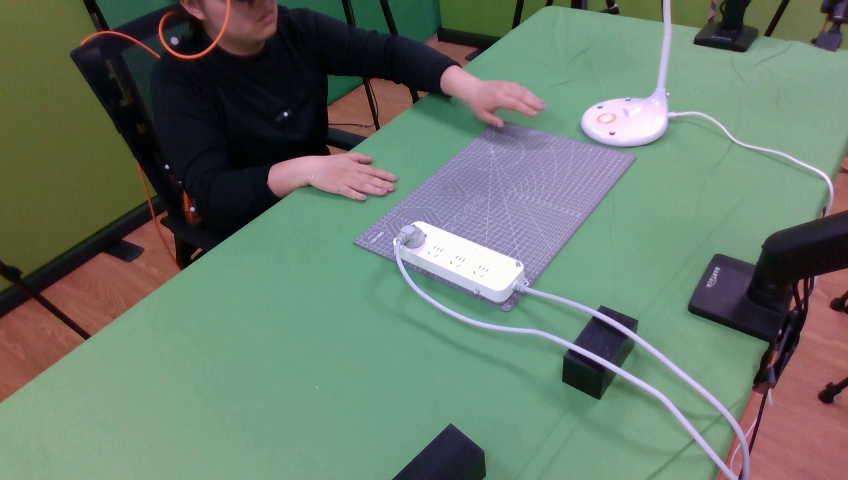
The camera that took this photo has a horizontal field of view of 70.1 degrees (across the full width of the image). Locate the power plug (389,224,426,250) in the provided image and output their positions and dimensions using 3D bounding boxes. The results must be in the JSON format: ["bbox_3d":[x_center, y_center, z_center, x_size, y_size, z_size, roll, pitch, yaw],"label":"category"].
[{"bbox_3d":[-0.030,0.004,0.920,0.073,0.053,0.035,-33,47,-25],"label":"power plug"}]

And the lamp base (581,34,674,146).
[{"bbox_3d":[0.392,-0.291,1.129,0.180,0.181,0.159,-11,41,-8],"label":"lamp base"}]

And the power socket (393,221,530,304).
[{"bbox_3d":[0.049,0.030,0.914,0.225,0.033,0.072,24,51,31],"label":"power socket"}]
